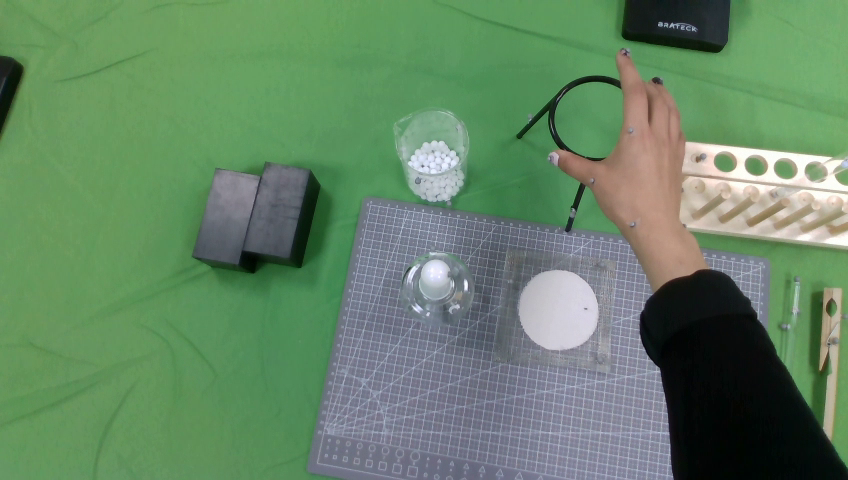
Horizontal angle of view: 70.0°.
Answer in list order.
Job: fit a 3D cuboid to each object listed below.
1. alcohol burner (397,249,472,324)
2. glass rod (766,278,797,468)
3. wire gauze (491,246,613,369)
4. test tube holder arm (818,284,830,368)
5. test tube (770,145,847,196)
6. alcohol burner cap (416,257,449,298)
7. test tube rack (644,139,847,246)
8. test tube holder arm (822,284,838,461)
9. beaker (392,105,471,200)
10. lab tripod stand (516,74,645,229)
[{"bbox_3d":[0.010,0.043,0.606,0.078,0.120,0.077,-1,75,3],"label":"alcohol burner"},{"bbox_3d":[0.371,0.136,0.628,0.008,0.008,0.199,13,81,5],"label":"glass rod"},{"bbox_3d":[0.139,0.072,0.649,0.121,0.011,0.124,7,80,3],"label":"wire gauze"},{"bbox_3d":[0.418,0.090,0.633,0.010,0.015,0.087,-1,74,39],"label":"test tube holder arm"},{"bbox_3d":[0.385,-0.070,0.585,0.017,0.150,0.017,1,77,-3],"label":"test tube"},{"bbox_3d":[0.009,0.032,0.571,0.034,0.048,0.033,1,67,-2],"label":"alcohol burner cap"},{"bbox_3d":[0.366,-0.046,0.631,0.242,0.085,0.066,7,77,4],"label":"test tube rack"},{"bbox_3d":[0.415,0.133,0.619,0.013,0.015,0.177,-2,73,39],"label":"test tube holder arm"},{"bbox_3d":[0.007,-0.089,0.647,0.084,0.101,0.074,27,79,9],"label":"beaker"},{"bbox_3d":[0.159,-0.099,0.624,0.148,0.132,0.147,-1,76,5],"label":"lab tripod stand"}]
